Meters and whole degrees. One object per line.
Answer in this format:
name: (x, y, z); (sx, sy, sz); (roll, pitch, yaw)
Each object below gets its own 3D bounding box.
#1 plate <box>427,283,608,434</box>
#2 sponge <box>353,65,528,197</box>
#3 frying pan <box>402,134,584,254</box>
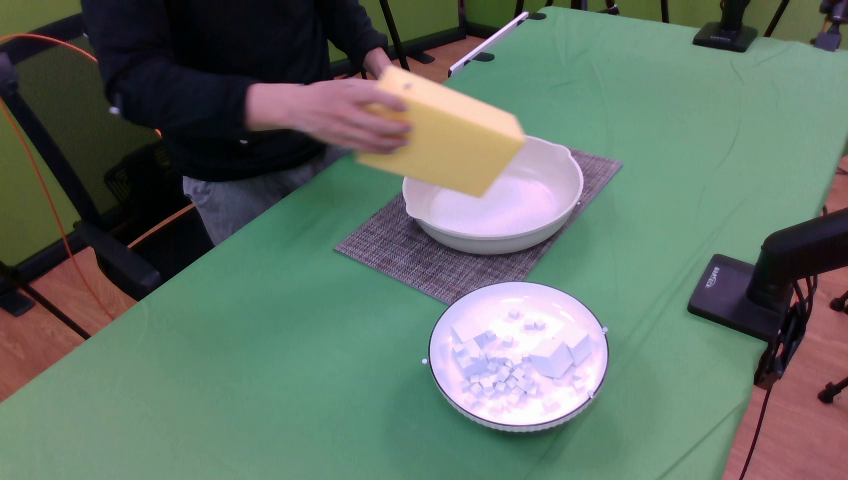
plate: (0.108, 0.137, 0.708); (0.207, 0.039, 0.206); (-4, 42, 4)
sponge: (0.023, -0.140, 0.818); (0.209, 0.118, 0.060); (13, 42, -32)
frying pan: (0.062, -0.144, 1.057); (0.308, 0.103, 0.483); (-22, 51, -19)
